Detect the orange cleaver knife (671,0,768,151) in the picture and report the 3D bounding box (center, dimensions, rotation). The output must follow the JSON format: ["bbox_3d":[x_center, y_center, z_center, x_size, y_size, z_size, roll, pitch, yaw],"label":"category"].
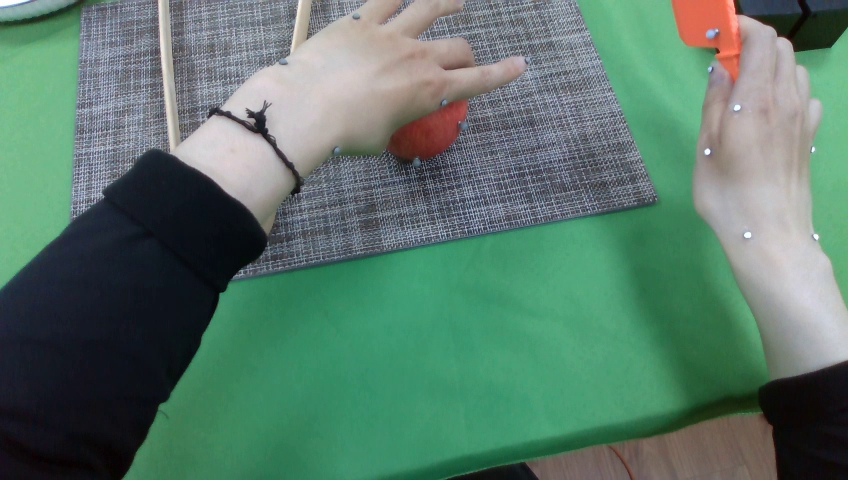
[{"bbox_3d":[0.190,-0.162,0.407,0.012,0.076,0.212,-24,109,-6],"label":"orange cleaver knife"}]

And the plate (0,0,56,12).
[{"bbox_3d":[-0.378,-0.288,0.569,0.209,0.038,0.207,0,65,0],"label":"plate"}]

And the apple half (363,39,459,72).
[{"bbox_3d":[-0.007,-0.133,0.477,0.081,0.082,0.032,5,69,2],"label":"apple half"}]

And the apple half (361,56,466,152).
[{"bbox_3d":[-0.010,-0.097,0.462,0.081,0.075,0.053,7,68,0],"label":"apple half"}]

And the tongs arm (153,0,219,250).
[{"bbox_3d":[-0.213,-0.164,0.516,0.028,0.028,0.384,-11,66,-10],"label":"tongs arm"}]

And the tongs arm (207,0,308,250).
[{"bbox_3d":[-0.129,-0.171,0.519,0.051,0.027,0.381,0,66,-1],"label":"tongs arm"}]
